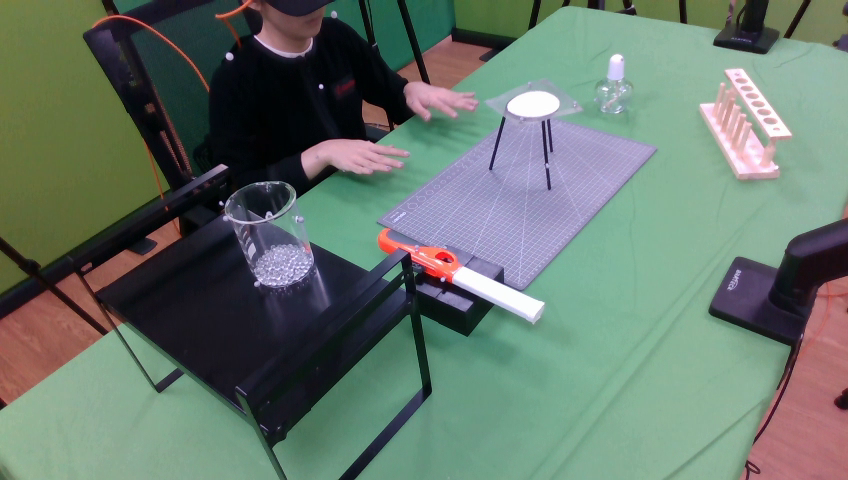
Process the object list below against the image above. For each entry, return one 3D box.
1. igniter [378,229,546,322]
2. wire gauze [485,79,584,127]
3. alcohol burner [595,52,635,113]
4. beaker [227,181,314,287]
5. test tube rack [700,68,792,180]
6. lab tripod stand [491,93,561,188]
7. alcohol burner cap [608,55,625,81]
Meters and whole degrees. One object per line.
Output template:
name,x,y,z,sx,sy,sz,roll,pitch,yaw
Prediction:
igniter,0.041,0.043,0.843,0.274,0.025,0.057,24,47,29
wire gauze,0.185,-0.232,1.023,0.125,0.011,0.120,-20,42,-12
alcohol burner,0.386,-0.319,1.217,0.078,0.119,0.077,-5,39,4
beaker,-0.166,-0.006,0.670,0.074,0.101,0.083,-8,40,0
test tube rack,0.572,-0.215,1.090,0.066,0.085,0.241,-3,41,7
lab tripod stand,0.189,-0.180,1.066,0.148,0.132,0.147,-5,42,5
alcohol burner cap,0.383,-0.343,1.198,0.034,0.048,0.033,-5,40,5
